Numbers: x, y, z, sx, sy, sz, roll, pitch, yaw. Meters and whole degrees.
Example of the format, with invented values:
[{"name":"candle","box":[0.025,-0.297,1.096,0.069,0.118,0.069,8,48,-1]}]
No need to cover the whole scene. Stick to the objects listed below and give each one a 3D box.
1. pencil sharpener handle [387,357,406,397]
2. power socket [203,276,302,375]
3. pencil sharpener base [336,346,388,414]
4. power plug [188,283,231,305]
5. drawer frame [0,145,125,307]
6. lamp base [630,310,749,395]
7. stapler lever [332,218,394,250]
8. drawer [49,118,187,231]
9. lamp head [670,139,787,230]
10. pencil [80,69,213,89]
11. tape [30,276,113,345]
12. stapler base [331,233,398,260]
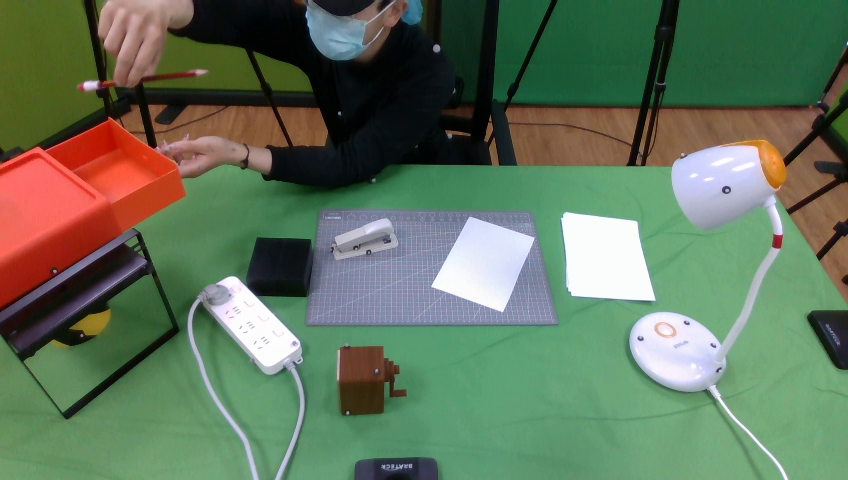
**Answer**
[{"name":"pencil sharpener handle","box":[-0.041,0.209,0.919,0.031,0.068,0.036,-1,24,-6]},{"name":"power socket","box":[-0.297,0.141,1.034,0.072,0.033,0.225,-34,58,-30]},{"name":"pencil sharpener base","box":[-0.093,0.215,0.927,0.077,0.107,0.061,-1,46,-6]},{"name":"power plug","box":[-0.368,0.099,1.037,0.072,0.053,0.035,-23,52,-25]},{"name":"drawer frame","box":[-0.596,-0.023,0.886,0.201,0.083,0.213,31,52,22]},{"name":"lamp base","box":[0.447,0.143,0.984,0.161,0.181,0.178,-24,55,-24]},{"name":"stapler lever","box":[-0.116,-0.012,1.162,0.118,0.040,0.026,-13,47,-14]},{"name":"drawer","box":[-0.523,-0.085,0.955,0.193,0.073,0.211,32,53,24]},{"name":"lamp head","box":[0.415,-0.079,0.812,0.113,0.123,0.112,13,70,-37]},{"name":"pencil","box":[-0.389,-0.227,0.850,0.194,0.012,0.012,-5,46,5]},{"name":"tape","box":[-0.594,0.118,1.022,0.117,0.053,0.116,2,45,-2]},{"name":"stapler base","box":[-0.116,0.004,1.181,0.131,0.024,0.041,-13,47,-14]}]
